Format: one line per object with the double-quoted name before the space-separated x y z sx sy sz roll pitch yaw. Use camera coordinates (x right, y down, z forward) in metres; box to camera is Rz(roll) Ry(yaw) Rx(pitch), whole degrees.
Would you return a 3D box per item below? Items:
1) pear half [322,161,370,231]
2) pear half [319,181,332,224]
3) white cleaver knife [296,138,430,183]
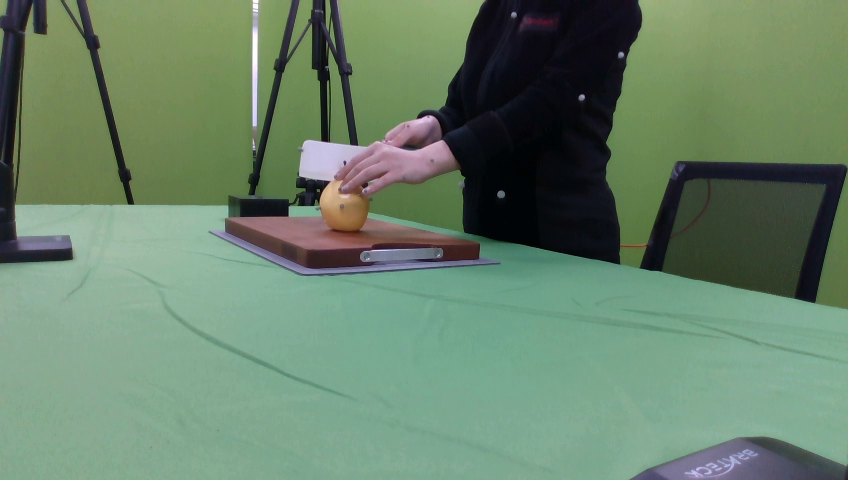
"pear half" -0.115 -0.067 0.934 0.055 0.110 0.077 6 13 39
"pear half" -0.142 -0.061 0.959 0.031 0.088 0.071 6 13 38
"white cleaver knife" -0.092 -0.126 0.985 0.021 0.066 0.288 15 13 41
